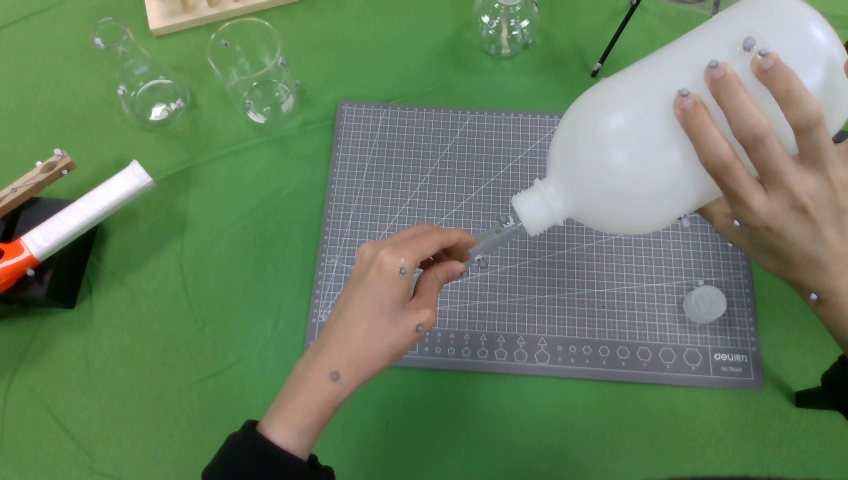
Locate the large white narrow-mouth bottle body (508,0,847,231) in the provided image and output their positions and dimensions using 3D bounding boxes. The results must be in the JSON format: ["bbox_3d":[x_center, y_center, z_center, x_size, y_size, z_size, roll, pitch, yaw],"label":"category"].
[{"bbox_3d":[0.143,-0.064,0.375,0.194,0.102,0.101,-30,71,9],"label":"large white narrow-mouth bottle body"}]

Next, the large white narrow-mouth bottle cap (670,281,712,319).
[{"bbox_3d":[0.268,0.060,0.607,0.038,0.024,0.037,0,72,1],"label":"large white narrow-mouth bottle cap"}]

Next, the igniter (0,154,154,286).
[{"bbox_3d":[-0.385,0.009,0.573,0.276,0.025,0.057,-40,77,-16],"label":"igniter"}]

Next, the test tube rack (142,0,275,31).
[{"bbox_3d":[-0.223,-0.329,0.712,0.242,0.086,0.066,-16,71,-6],"label":"test tube rack"}]

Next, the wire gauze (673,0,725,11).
[{"bbox_3d":[0.266,-0.282,0.599,0.121,0.011,0.124,24,73,7],"label":"wire gauze"}]

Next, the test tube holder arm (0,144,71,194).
[{"bbox_3d":[-0.427,-0.036,0.592,0.178,0.015,0.013,-39,75,-13],"label":"test tube holder arm"}]

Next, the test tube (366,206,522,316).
[{"bbox_3d":[0.010,0.019,0.434,0.150,0.017,0.017,-35,67,32],"label":"test tube"}]

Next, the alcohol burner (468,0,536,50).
[{"bbox_3d":[0.090,-0.270,0.677,0.078,0.120,0.077,1,69,-1],"label":"alcohol burner"}]

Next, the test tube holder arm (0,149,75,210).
[{"bbox_3d":[-0.390,-0.059,0.601,0.088,0.015,0.010,-38,74,-13],"label":"test tube holder arm"}]

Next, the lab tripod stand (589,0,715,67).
[{"bbox_3d":[0.259,-0.258,0.662,0.148,0.132,0.147,1,69,-1],"label":"lab tripod stand"}]

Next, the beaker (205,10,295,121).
[{"bbox_3d":[-0.183,-0.180,0.652,0.074,0.101,0.083,18,72,7],"label":"beaker"}]

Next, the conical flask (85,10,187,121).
[{"bbox_3d":[-0.309,-0.187,0.642,0.075,0.122,0.075,0,70,0],"label":"conical flask"}]
